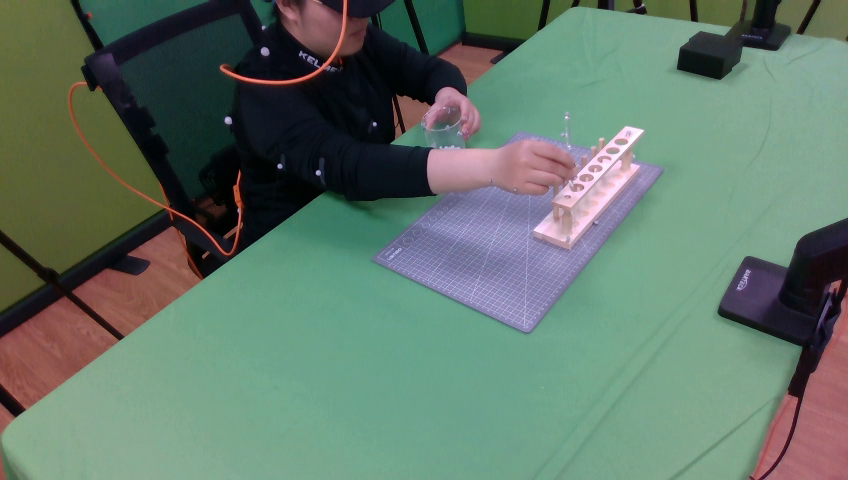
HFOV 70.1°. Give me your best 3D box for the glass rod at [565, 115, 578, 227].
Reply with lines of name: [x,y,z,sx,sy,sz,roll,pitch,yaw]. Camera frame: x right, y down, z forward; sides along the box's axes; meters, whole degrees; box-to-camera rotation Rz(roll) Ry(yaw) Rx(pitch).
glass rod: [0.219,-0.096,0.897,0.008,0.201,0.008,-9,39,8]

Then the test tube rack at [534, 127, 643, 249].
test tube rack: [0.272,-0.094,0.990,0.066,0.085,0.243,23,50,33]

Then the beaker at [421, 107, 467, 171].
beaker: [0.041,-0.187,1.123,0.073,0.101,0.084,8,48,21]
